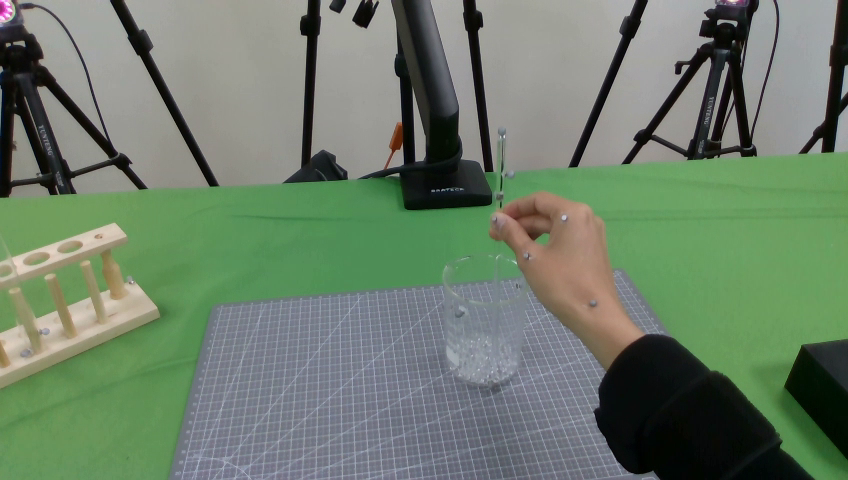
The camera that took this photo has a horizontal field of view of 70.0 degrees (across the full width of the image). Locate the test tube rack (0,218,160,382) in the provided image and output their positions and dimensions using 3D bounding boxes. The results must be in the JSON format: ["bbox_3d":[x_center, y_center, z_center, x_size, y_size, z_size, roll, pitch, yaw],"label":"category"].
[{"bbox_3d":[-0.382,0.070,0.550,0.242,0.086,0.066,-26,42,-34],"label":"test tube rack"}]

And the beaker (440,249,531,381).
[{"bbox_3d":[0.049,0.067,0.536,0.083,0.101,0.074,27,42,36],"label":"beaker"}]

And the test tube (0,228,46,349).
[{"bbox_3d":[-0.357,0.034,0.522,0.017,0.151,0.017,2,32,-1],"label":"test tube"}]

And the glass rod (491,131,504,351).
[{"bbox_3d":[0.061,0.008,0.497,0.008,0.201,0.008,-1,26,1],"label":"glass rod"}]
